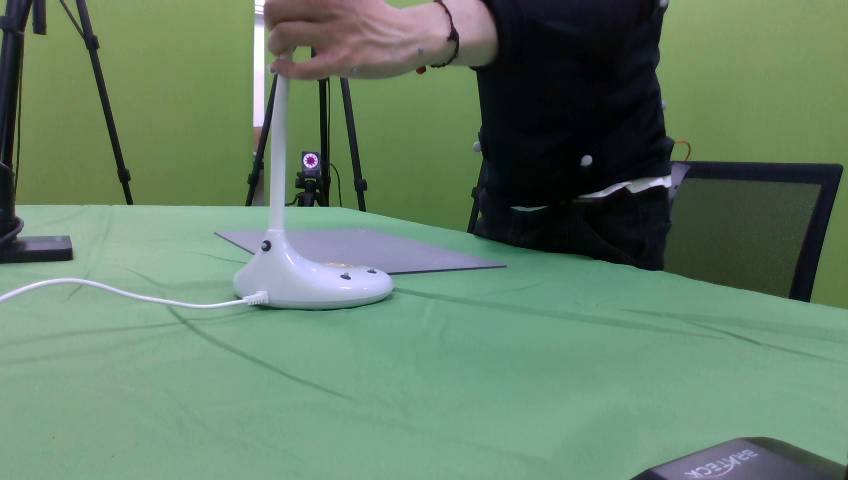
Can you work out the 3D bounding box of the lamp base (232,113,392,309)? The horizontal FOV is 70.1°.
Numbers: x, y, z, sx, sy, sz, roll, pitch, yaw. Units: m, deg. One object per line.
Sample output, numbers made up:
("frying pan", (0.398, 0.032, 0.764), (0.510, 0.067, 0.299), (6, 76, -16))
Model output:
("lamp base", (-0.113, -0.031, 0.594), (0.160, 0.180, 0.179), (5, 10, 18))
